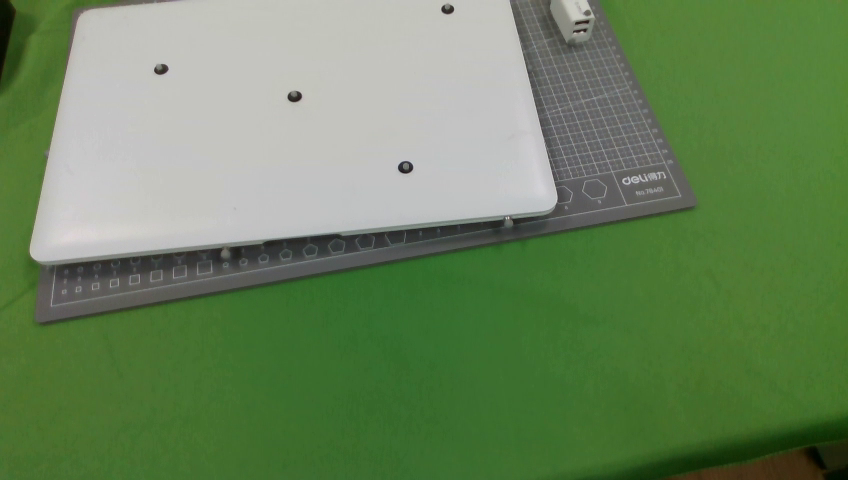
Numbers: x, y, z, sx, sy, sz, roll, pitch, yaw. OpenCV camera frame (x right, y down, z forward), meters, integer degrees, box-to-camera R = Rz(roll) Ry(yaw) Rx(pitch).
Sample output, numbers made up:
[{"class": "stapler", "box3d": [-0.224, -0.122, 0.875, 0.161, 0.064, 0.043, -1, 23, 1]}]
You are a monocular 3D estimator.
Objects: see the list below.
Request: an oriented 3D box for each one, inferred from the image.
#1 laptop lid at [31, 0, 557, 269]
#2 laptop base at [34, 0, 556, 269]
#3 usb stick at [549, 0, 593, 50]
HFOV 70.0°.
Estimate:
[{"class": "laptop lid", "box3d": [-0.095, -0.100, 0.453, 0.357, 0.013, 0.239, -4, 62, -2]}, {"class": "laptop base", "box3d": [-0.095, -0.096, 0.465, 0.355, 0.023, 0.233, -6, 64, -3]}, {"class": "usb stick", "box3d": [0.121, -0.190, 0.511, 0.021, 0.027, 0.058, -11, 58, -6]}]
